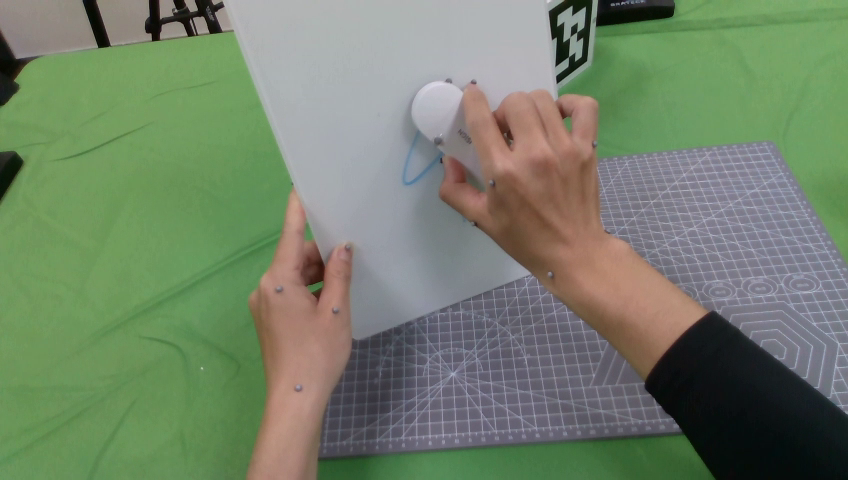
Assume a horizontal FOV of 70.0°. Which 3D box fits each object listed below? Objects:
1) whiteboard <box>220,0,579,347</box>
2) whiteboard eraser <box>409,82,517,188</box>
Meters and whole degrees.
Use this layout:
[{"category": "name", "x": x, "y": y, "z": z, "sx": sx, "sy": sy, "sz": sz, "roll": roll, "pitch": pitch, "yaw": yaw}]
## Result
[{"category": "whiteboard", "x": -0.014, "y": -0.103, "z": 0.515, "sx": 0.217, "sy": 0.308, "sz": 0.142, "roll": -20, "pitch": 30, "yaw": -8}, {"category": "whiteboard eraser", "x": 0.030, "y": -0.078, "z": 0.456, "sx": 0.041, "sy": 0.102, "sz": 0.018, "roll": -49, "pitch": 29, "yaw": 5}]
